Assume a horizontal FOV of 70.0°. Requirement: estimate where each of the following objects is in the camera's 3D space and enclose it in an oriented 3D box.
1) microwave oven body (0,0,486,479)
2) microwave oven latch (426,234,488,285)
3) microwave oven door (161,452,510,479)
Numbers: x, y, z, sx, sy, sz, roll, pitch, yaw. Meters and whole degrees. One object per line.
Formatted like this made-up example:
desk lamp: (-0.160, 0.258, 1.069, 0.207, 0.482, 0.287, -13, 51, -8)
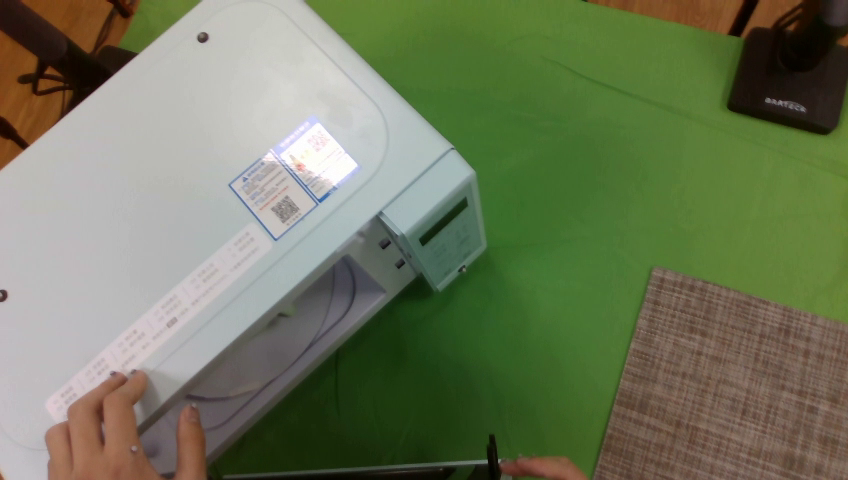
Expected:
microwave oven body: (-0.205, 0.005, 0.622, 0.441, 0.262, 0.324, -42, 74, -4)
microwave oven latch: (0.037, 0.015, 0.687, 0.079, 0.030, 0.030, -40, 74, -3)
microwave oven door: (-0.102, 0.229, 0.542, 0.355, 0.245, 0.039, -6, 74, 6)
